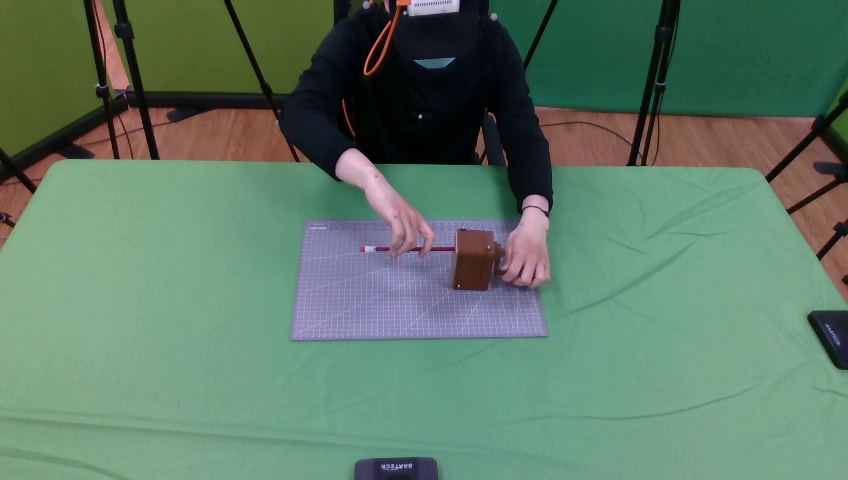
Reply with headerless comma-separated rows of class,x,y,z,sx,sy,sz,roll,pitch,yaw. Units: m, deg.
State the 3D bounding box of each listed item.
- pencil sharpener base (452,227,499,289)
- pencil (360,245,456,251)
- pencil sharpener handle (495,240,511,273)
pencil sharpener base,0.093,0.035,1.102,0.077,0.107,0.061,3,46,-1
pencil,-0.017,0.014,1.082,0.194,0.012,0.012,0,47,0
pencil sharpener handle,0.144,0.031,1.092,0.030,0.068,0.036,3,33,-1
